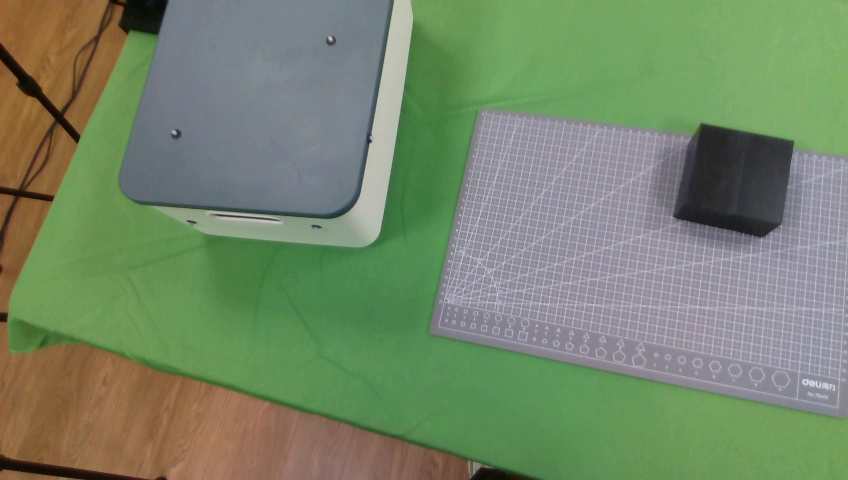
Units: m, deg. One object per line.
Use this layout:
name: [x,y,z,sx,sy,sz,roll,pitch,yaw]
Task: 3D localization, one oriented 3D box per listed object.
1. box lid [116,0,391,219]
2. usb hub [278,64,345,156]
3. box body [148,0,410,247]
box lid: [-0.175,-0.202,0.658,0.263,0.015,0.369,5,75,9]
usb hub: [-0.144,-0.168,0.781,0.049,0.025,0.124,10,69,13]
box body: [-0.165,-0.183,0.729,0.254,0.161,0.362,5,75,9]
